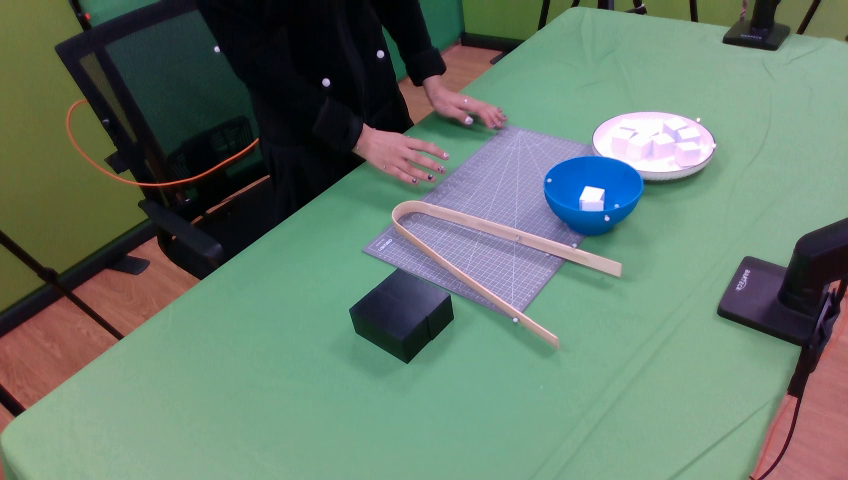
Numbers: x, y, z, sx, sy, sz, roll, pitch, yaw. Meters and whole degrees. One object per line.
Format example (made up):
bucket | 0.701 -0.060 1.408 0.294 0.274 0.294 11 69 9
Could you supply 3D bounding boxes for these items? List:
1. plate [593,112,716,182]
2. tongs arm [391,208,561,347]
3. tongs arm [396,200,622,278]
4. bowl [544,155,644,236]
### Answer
plate | 0.408 -0.163 1.084 0.207 0.039 0.206 -4 40 4
tongs arm | 0.060 0.046 0.906 0.028 0.028 0.384 -37 47 -19
tongs arm | 0.117 -0.002 0.947 0.381 0.026 0.051 22 53 32
bowl | 0.266 -0.061 0.957 0.151 0.077 0.150 -5 41 5
